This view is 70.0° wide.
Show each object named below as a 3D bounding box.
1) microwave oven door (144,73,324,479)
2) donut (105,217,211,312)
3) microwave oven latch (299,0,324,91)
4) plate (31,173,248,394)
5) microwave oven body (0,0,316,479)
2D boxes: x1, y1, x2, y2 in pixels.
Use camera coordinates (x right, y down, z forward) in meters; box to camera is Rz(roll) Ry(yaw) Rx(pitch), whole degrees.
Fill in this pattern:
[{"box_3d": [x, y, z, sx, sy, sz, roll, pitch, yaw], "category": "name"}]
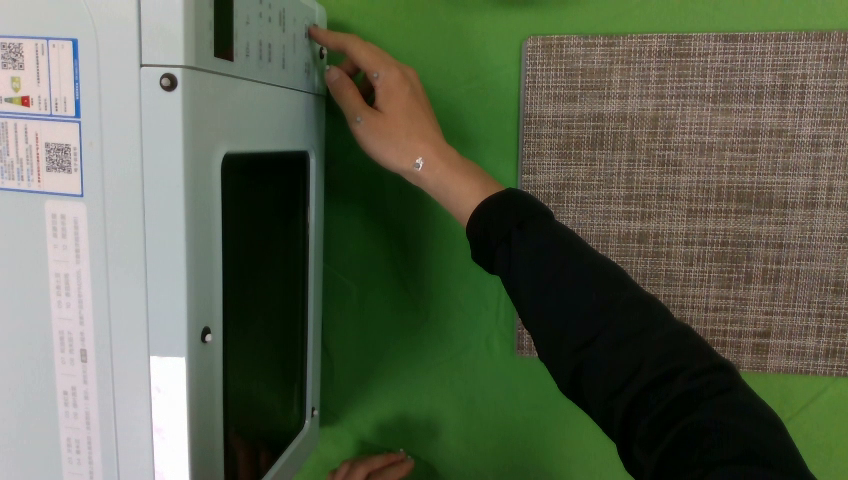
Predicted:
[{"box_3d": [-0.138, 0.057, 0.491, 0.039, 0.243, 0.356, 4, 101, 9], "category": "microwave oven door"}, {"box_3d": [-0.243, 0.024, 0.556, 0.099, 0.048, 0.100, 7, 123, 11], "category": "donut"}, {"box_3d": [-0.106, -0.176, 0.546, 0.030, 0.029, 0.079, 5, 102, 9], "category": "microwave oven latch"}, {"box_3d": [-0.261, 0.040, 0.568, 0.209, 0.038, 0.209, 1, 100, 8], "category": "plate"}, {"box_3d": [-0.278, 0.002, 0.511, 0.325, 0.260, 0.443, 5, 102, 9], "category": "microwave oven body"}]
